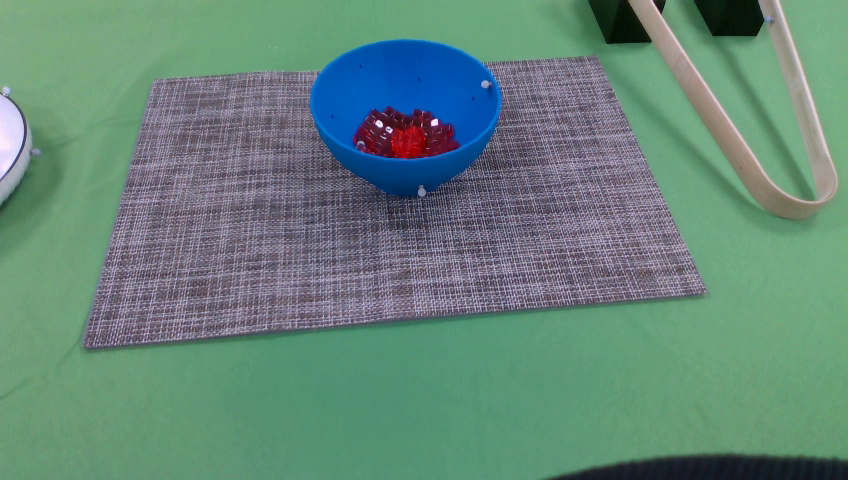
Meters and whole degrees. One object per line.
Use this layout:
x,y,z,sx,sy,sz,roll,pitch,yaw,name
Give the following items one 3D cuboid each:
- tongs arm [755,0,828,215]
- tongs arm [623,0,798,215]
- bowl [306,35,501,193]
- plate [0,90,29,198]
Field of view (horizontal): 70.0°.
0.322,-0.196,0.584,0.051,0.027,0.381,1,63,-4,tongs arm
0.233,-0.188,0.576,0.028,0.028,0.384,-12,64,-14,tongs arm
-0.017,-0.093,0.501,0.151,0.077,0.150,1,52,0,bowl
-0.431,-0.055,0.491,0.209,0.038,0.207,1,52,-1,plate
